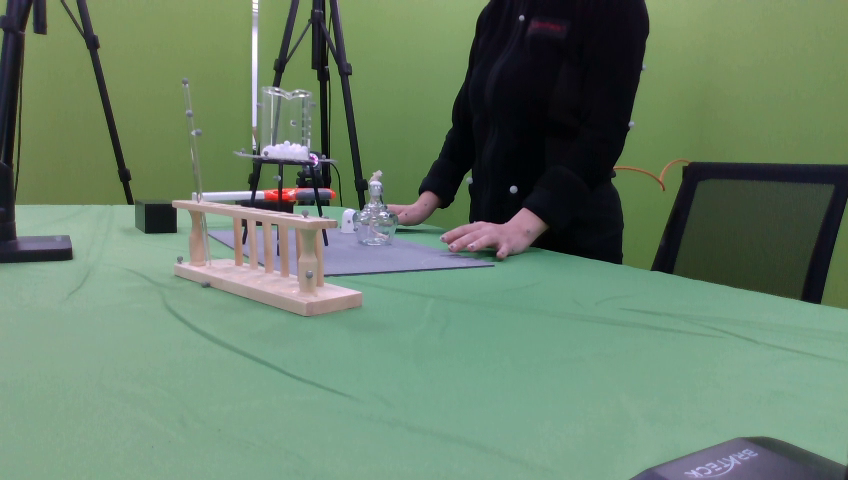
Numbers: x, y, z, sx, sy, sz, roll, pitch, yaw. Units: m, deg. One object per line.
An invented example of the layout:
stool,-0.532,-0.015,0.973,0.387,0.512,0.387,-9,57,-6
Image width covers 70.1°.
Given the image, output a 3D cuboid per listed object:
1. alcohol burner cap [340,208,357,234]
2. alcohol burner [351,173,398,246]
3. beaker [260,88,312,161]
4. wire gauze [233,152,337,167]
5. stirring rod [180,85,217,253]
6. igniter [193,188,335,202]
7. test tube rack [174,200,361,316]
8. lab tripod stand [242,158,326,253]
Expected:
alcohol burner cap,-0.142,-0.036,1.136,0.034,0.048,0.034,2,7,0
alcohol burner,-0.081,-0.051,0.995,0.078,0.119,0.078,1,6,0
beaker,-0.200,-0.166,0.876,0.074,0.100,0.083,1,7,-18
wire gauze,-0.205,-0.119,0.887,0.122,0.011,0.124,2,4,-32
stirring rod,-0.236,-0.073,0.634,0.006,0.176,0.014,1,10,43
igniter,-0.312,-0.089,1.209,0.278,0.025,0.057,-5,13,-31
test tube rack,-0.169,0.009,0.622,0.241,0.085,0.067,9,9,41
lab tripod stand,-0.207,-0.054,0.895,0.148,0.131,0.148,3,5,0
